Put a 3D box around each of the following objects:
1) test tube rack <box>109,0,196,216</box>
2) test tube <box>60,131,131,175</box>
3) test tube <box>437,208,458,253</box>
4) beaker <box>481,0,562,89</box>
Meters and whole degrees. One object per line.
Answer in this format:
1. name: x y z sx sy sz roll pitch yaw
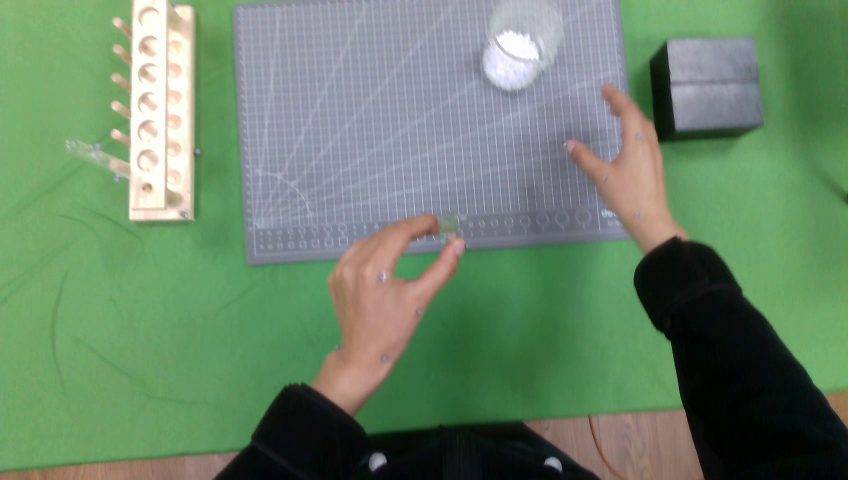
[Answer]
1. test tube rack: -0.292 -0.152 0.645 0.067 0.085 0.241 -1 85 -2
2. test tube: -0.310 -0.081 0.593 0.017 0.150 0.017 0 85 -2
3. test tube: 0.019 -0.005 0.524 0.017 0.150 0.017 0 81 2
4. beaker: 0.103 -0.210 0.656 0.074 0.100 0.084 -33 87 -5
